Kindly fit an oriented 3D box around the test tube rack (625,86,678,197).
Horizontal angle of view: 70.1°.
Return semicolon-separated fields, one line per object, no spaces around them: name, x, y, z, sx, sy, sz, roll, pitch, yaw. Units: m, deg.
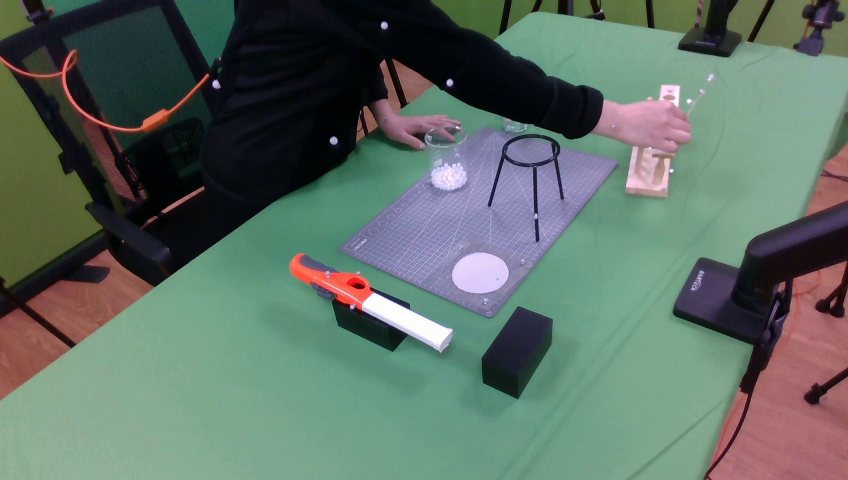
test tube rack;0.412;-0.184;1.088;0.066;0.085;0.242;9;43;18

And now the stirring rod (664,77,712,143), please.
stirring rod;0.416;-0.193;0.972;0.014;0.176;0.006;25;59;11

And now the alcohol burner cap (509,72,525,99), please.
alcohol burner cap;0.181;-0.306;1.186;0.034;0.048;0.033;-7;39;6

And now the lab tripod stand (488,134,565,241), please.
lab tripod stand;0.169;-0.093;0.972;0.148;0.132;0.147;-5;41;5

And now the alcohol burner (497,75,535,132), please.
alcohol burner;0.184;-0.278;1.210;0.078;0.119;0.077;-3;43;4

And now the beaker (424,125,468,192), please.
beaker;0.043;-0.144;1.078;0.073;0.100;0.084;28;51;34

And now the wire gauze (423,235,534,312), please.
wire gauze;0.082;0.049;0.914;0.120;0.011;0.125;26;53;32

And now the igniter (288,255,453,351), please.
igniter;-0.082;0.079;0.818;0.274;0.025;0.057;23;46;27
